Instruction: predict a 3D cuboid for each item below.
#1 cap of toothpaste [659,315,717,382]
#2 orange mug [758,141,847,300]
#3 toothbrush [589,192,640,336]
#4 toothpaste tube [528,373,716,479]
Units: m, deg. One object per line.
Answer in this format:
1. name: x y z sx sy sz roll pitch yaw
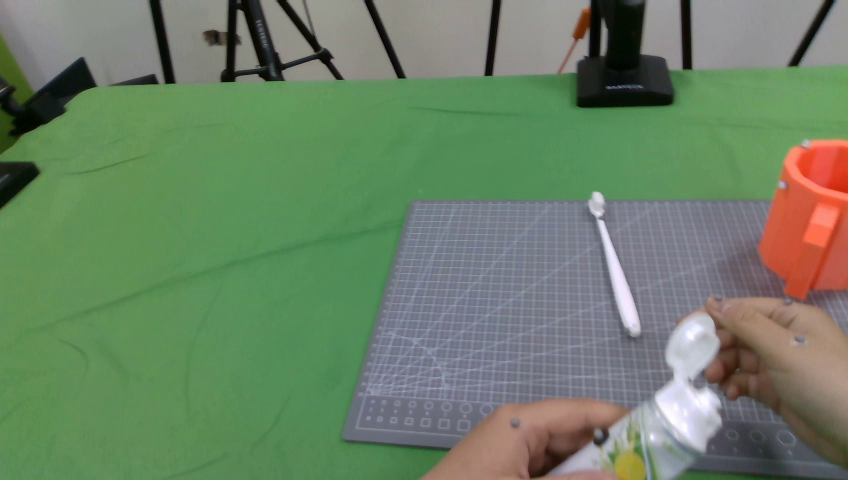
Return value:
1. cap of toothpaste: 0.140 0.057 0.317 0.037 0.037 0.011 -23 28 -17
2. orange mug: 0.330 -0.011 0.500 0.083 0.102 0.126 23 45 31
3. toothbrush: 0.175 0.015 0.559 0.014 0.017 0.180 8 42 -5
4. toothpaste tube: 0.089 0.131 0.328 0.165 0.035 0.054 -49 57 17
